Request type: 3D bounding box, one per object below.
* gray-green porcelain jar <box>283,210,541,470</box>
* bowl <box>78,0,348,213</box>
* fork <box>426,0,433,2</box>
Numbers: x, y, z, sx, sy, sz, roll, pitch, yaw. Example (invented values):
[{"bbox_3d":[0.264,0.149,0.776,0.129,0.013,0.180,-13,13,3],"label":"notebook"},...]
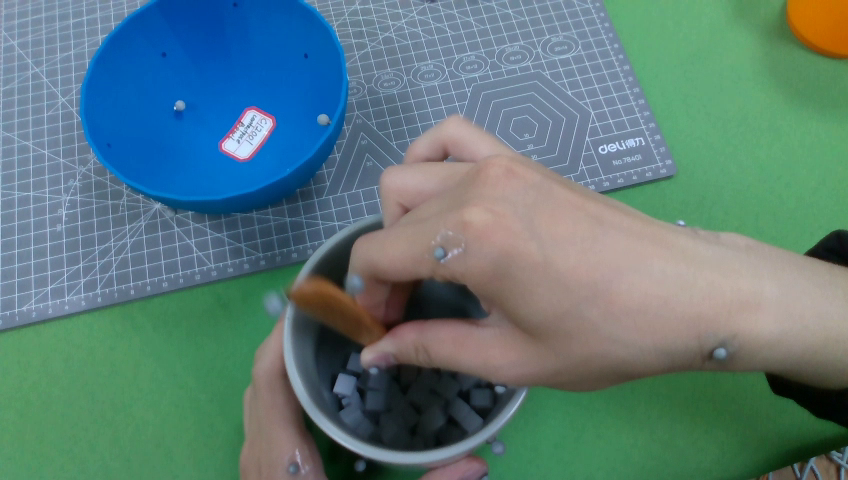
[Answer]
[{"bbox_3d":[-0.004,0.058,0.302,0.106,0.127,0.105,0,68,0],"label":"gray-green porcelain jar"},{"bbox_3d":[-0.118,-0.075,0.376,0.151,0.077,0.150,0,68,0],"label":"bowl"},{"bbox_3d":[-0.023,-0.281,0.457,0.028,0.018,0.207,-16,88,-11],"label":"fork"}]
